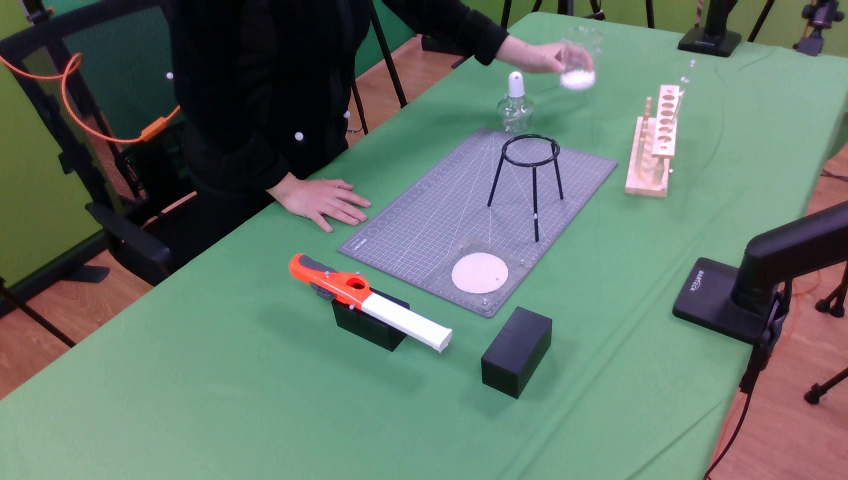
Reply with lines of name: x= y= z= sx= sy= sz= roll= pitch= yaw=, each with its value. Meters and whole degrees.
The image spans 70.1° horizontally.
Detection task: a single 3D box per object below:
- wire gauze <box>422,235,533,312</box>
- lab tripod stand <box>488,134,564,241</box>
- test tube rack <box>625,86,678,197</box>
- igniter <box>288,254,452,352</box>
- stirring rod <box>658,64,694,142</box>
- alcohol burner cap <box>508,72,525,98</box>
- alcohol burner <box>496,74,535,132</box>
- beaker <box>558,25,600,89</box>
wire gauze: x=0.081 y=0.049 z=0.914 sx=0.120 sy=0.011 sz=0.125 roll=26 pitch=52 yaw=32
lab tripod stand: x=0.168 y=-0.092 z=0.972 sx=0.148 sy=0.132 sz=0.147 roll=-5 pitch=41 yaw=5
test tube rack: x=0.412 y=-0.184 z=1.088 sx=0.066 sy=0.085 sz=0.242 roll=9 pitch=43 yaw=18
igniter: x=-0.083 y=0.079 z=0.818 sx=0.274 sy=0.025 sz=0.057 roll=23 pitch=46 yaw=27
stirring rod: x=0.409 y=-0.213 z=1.000 sx=0.006 sy=0.176 sz=0.014 roll=36 pitch=57 yaw=24
alcohol burner cap: x=0.181 y=-0.306 z=1.187 sx=0.034 sy=0.048 sz=0.033 roll=-6 pitch=41 yaw=5
alcohol burner: x=0.183 y=-0.278 z=1.210 sx=0.078 sy=0.119 sz=0.077 roll=-3 pitch=42 yaw=4
beaker: x=0.292 y=-0.348 z=1.149 sx=0.073 sy=0.101 sz=0.084 roll=14 pitch=46 yaw=21
